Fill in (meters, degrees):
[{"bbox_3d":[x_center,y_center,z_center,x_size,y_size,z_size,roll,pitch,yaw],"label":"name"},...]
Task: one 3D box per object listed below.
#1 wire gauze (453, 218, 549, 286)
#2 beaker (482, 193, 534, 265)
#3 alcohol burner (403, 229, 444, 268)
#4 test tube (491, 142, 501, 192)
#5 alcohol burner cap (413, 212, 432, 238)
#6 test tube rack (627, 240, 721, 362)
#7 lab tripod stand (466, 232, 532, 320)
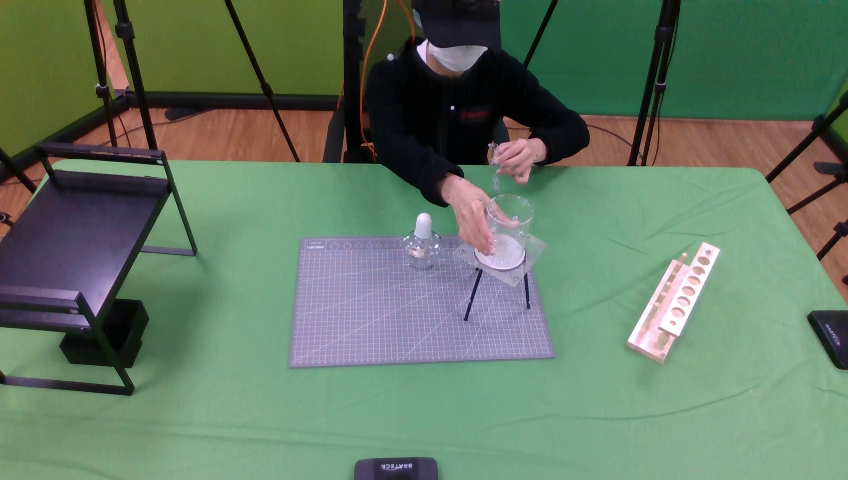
[{"bbox_3d":[0.129,0.014,1.018,0.124,0.011,0.121,26,47,25],"label":"wire gauze"},{"bbox_3d":[0.135,-0.016,0.979,0.073,0.101,0.084,35,52,28],"label":"beaker"},{"bbox_3d":[-0.001,-0.004,1.132,0.078,0.120,0.077,1,46,-1],"label":"alcohol burner"},{"bbox_3d":[0.145,-0.142,1.212,0.017,0.151,0.017,-4,59,7],"label":"test tube"},{"bbox_3d":[-0.001,-0.031,1.106,0.034,0.048,0.033,7,38,-5],"label":"alcohol burner cap"},{"bbox_3d":[0.452,0.098,1.087,0.066,0.085,0.242,28,51,22],"label":"test tube rack"},{"bbox_3d":[0.125,0.059,1.065,0.148,0.132,0.147,1,45,0],"label":"lab tripod stand"}]
